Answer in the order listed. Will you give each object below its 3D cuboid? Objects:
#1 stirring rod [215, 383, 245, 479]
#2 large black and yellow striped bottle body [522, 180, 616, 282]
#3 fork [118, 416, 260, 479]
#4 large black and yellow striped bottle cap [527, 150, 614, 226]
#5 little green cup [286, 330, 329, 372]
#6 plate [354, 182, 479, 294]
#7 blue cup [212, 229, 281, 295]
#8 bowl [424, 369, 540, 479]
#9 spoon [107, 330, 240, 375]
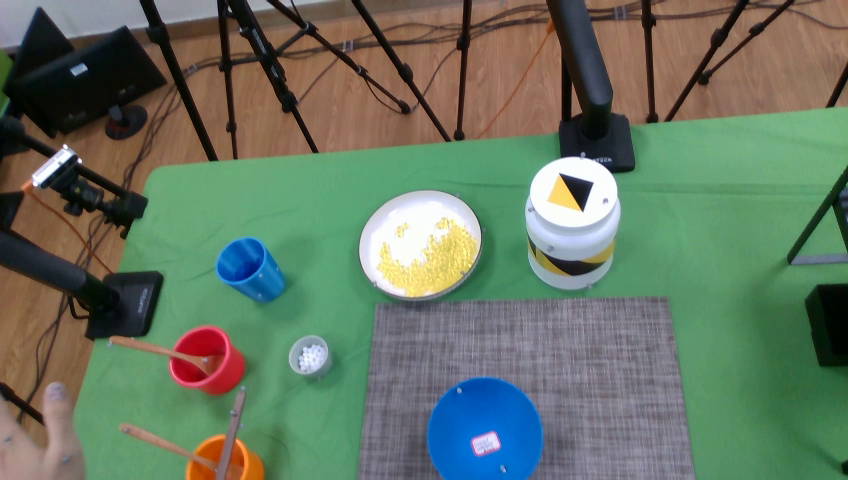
[{"bbox_3d":[-0.269,0.283,0.828,0.014,0.006,0.174,-2,61,12],"label":"stirring rod"},{"bbox_3d":[0.211,-0.032,0.889,0.130,0.186,0.129,-5,60,9],"label":"large black and yellow striped bottle body"},{"bbox_3d":[-0.322,0.290,0.838,0.209,0.018,0.028,33,68,-21],"label":"fork"},{"bbox_3d":[0.196,-0.072,0.816,0.115,0.019,0.114,-5,60,10],"label":"large black and yellow striped bottle cap"},{"bbox_3d":[-0.177,0.174,0.937,0.061,0.039,0.061,-5,61,10],"label":"little green cup"},{"bbox_3d":[-0.012,-0.001,1.002,0.209,0.038,0.207,-5,61,9],"label":"plate"},{"bbox_3d":[-0.282,0.045,0.993,0.092,0.101,0.092,-6,61,10],"label":"blue cup"},{"bbox_3d":[0.080,0.258,0.812,0.151,0.077,0.150,-5,61,9],"label":"bowl"},{"bbox_3d":[-0.378,0.166,0.921,0.195,0.021,0.041,23,62,-26],"label":"spoon"}]
